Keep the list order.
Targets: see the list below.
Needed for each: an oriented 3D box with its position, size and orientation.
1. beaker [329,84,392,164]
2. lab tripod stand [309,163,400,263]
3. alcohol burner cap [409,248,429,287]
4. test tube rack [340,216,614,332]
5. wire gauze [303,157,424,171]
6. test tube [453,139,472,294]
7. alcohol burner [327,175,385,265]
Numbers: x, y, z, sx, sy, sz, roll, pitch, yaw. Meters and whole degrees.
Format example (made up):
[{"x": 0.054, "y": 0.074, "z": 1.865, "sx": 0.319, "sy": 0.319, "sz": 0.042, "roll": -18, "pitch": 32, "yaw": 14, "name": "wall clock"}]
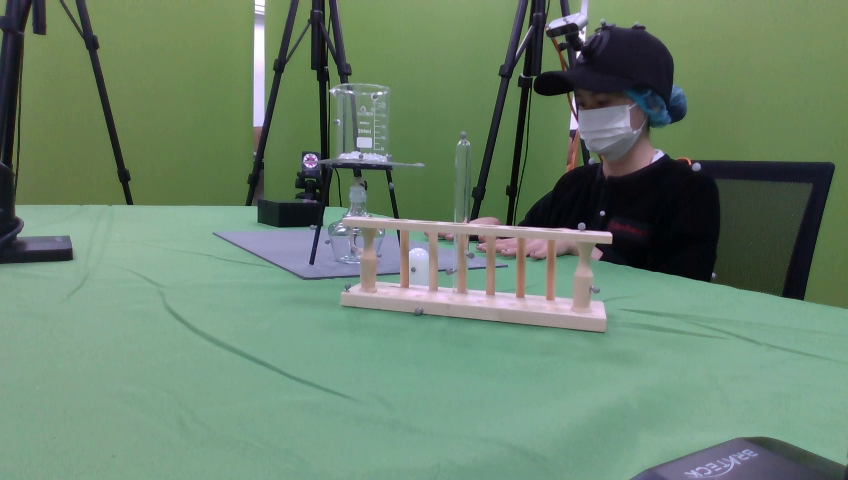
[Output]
[{"x": -0.084, "y": -0.149, "z": 0.794, "sx": 0.084, "sy": 0.100, "sz": 0.073, "roll": -1, "pitch": 6, "yaw": -23, "name": "beaker"}, {"x": -0.091, "y": -0.037, "z": 0.813, "sx": 0.148, "sy": 0.131, "sz": 0.148, "roll": 1, "pitch": 6, "yaw": 0, "name": "lab tripod stand"}, {"x": -0.008, "y": 0.032, "z": 0.674, "sx": 0.034, "sy": 0.048, "sz": 0.034, "roll": 3, "pitch": 6, "yaw": 0, "name": "alcohol burner cap"}, {"x": 0.048, "y": 0.026, "z": 0.568, "sx": 0.242, "sy": 0.085, "sz": 0.067, "roll": 4, "pitch": 8, "yaw": 13, "name": "test tube rack"}, {"x": -0.082, "y": -0.102, "z": 0.799, "sx": 0.126, "sy": 0.011, "sz": 0.121, "roll": 1, "pitch": 7, "yaw": -30, "name": "wire gauze"}, {"x": 0.037, "y": -0.021, "z": 0.584, "sx": 0.017, "sy": 0.150, "sz": 0.017, "roll": 1, "pitch": 7, "yaw": 0, "name": "test tube"}, {"x": -0.090, "y": -0.027, "z": 0.811, "sx": 0.078, "sy": 0.119, "sz": 0.078, "roll": 3, "pitch": 5, "yaw": 0, "name": "alcohol burner"}]
